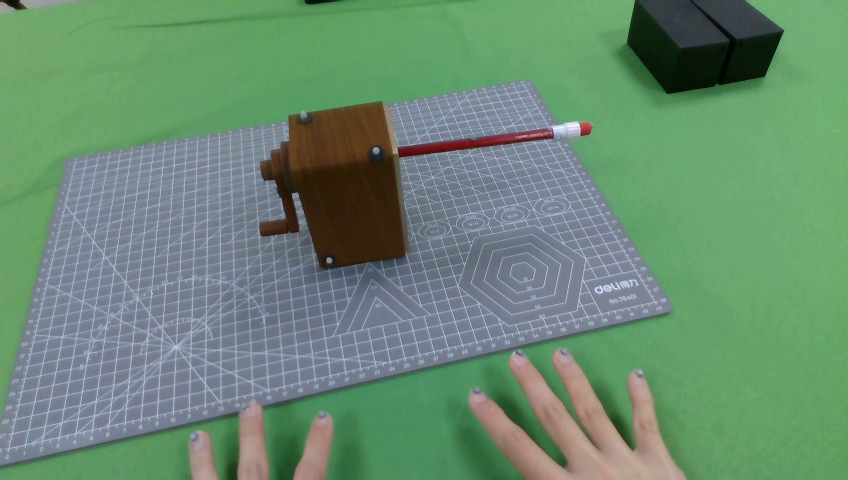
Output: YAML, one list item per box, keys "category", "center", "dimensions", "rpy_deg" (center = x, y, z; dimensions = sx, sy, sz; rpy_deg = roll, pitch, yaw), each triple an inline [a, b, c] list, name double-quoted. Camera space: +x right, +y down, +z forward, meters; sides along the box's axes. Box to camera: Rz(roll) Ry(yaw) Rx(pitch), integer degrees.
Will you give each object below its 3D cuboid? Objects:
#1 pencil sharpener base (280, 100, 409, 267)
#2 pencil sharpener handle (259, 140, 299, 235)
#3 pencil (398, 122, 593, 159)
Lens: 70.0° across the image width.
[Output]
- category: "pencil sharpener base"
  center: [-0.055, -0.037, 0.440]
  dimensions: [0.077, 0.108, 0.060]
  rpy_deg: [-9, 49, -4]
- category: "pencil sharpener handle"
  center: [-0.106, -0.034, 0.423]
  dimensions: [0.031, 0.068, 0.035]
  rpy_deg: [-10, 29, -4]
- category: "pencil"
  center: [0.025, -0.067, 0.428]
  dimensions: [0.194, 0.012, 0.012]
  rpy_deg: [-8, 48, -5]
